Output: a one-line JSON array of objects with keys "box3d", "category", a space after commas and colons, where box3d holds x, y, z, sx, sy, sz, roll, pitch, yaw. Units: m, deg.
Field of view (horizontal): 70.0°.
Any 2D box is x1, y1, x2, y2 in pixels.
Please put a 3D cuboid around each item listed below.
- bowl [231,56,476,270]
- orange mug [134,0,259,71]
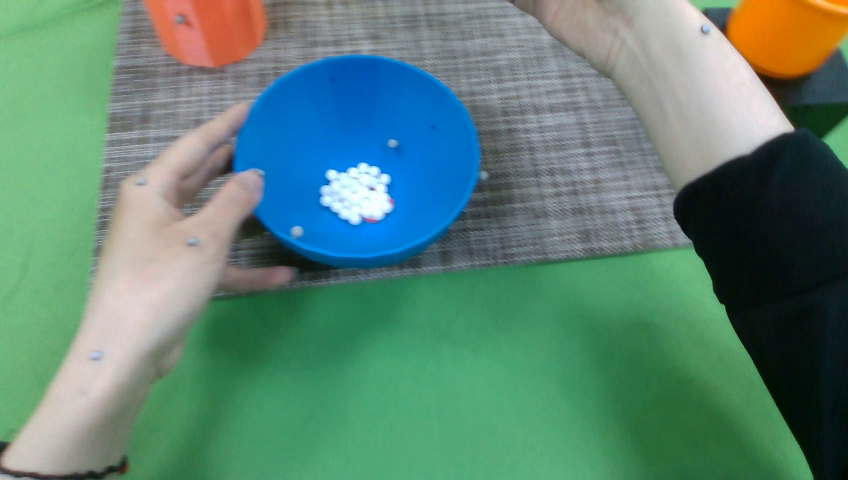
[{"box3d": [-0.044, -0.039, 0.406, 0.151, 0.077, 0.150, 2, 64, -4], "category": "bowl"}, {"box3d": [-0.176, -0.211, 0.465, 0.083, 0.101, 0.125, 5, 69, -2], "category": "orange mug"}]
